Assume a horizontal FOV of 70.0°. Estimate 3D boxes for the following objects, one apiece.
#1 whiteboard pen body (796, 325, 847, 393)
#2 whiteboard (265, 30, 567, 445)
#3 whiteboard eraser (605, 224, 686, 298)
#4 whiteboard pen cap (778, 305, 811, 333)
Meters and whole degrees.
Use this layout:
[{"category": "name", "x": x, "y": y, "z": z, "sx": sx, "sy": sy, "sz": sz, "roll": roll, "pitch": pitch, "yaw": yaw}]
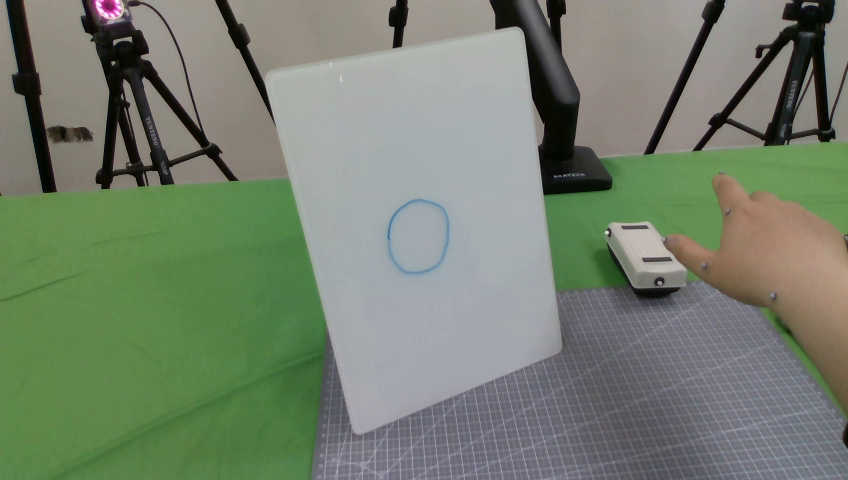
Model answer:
[{"category": "whiteboard pen body", "x": 0.379, "y": 0.114, "z": 0.561, "sx": 0.017, "sy": 0.017, "sz": 0.139, "roll": -5, "pitch": 34, "yaw": -4}, {"category": "whiteboard", "x": -0.013, "y": -0.013, "z": 0.563, "sx": 0.218, "sy": 0.307, "sz": 0.142, "roll": -17, "pitch": 17, "yaw": -20}, {"category": "whiteboard eraser", "x": 0.246, "y": 0.023, "z": 0.680, "sx": 0.055, "sy": 0.042, "sz": 0.111, "roll": -5, "pitch": 30, "yaw": 0}, {"category": "whiteboard pen cap", "x": 0.373, "y": 0.081, "z": 0.608, "sx": 0.018, "sy": 0.018, "sz": 0.033, "roll": -5, "pitch": 32, "yaw": -4}]
